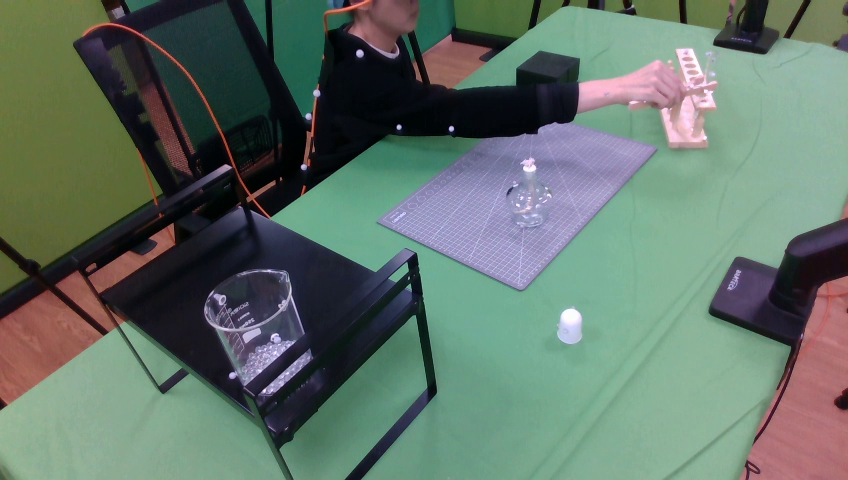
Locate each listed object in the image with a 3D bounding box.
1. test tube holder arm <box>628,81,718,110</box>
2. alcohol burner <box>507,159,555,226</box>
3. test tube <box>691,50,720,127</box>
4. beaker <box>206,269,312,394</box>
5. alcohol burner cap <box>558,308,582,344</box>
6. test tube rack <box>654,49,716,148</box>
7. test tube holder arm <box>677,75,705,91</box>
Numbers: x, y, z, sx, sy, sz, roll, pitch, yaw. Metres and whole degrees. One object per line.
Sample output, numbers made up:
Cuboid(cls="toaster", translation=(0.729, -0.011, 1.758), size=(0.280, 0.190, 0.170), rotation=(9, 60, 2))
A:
Cuboid(cls="test tube holder arm", translation=(0.429, -0.250, 1.040), size=(0.179, 0.015, 0.013), rotation=(-16, 44, -16))
Cuboid(cls="alcohol burner", translation=(0.172, -0.081, 0.969), size=(0.078, 0.119, 0.077), rotation=(-3, 43, 4))
Cuboid(cls="test tube", translation=(0.504, -0.268, 1.085), size=(0.017, 0.151, 0.017), rotation=(-2, 41, 3))
Cuboid(cls="beaker", translation=(-0.146, 0.086, 0.560), size=(0.073, 0.101, 0.084), rotation=(19, 46, 27))
Cuboid(cls="alcohol burner cap", translation=(0.194, 0.111, 0.802), size=(0.034, 0.048, 0.033), rotation=(-4, 39, 4))
Cuboid(cls="test tube rack", translation=(0.502, -0.281, 1.176), size=(0.066, 0.085, 0.241), rotation=(2, 41, 11))
Cuboid(cls="test tube holder arm", translation=(0.465, -0.268, 1.059), size=(0.088, 0.015, 0.010), rotation=(-33, 52, -29))
